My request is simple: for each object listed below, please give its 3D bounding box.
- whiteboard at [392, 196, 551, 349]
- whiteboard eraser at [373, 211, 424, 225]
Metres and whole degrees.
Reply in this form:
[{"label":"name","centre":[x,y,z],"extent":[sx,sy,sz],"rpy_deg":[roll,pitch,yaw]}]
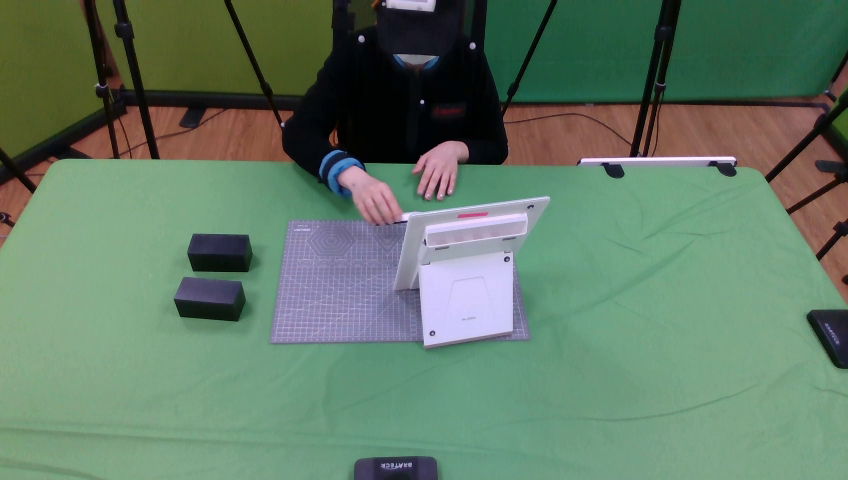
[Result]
[{"label":"whiteboard","centre":[0.077,0.071,0.977],"extent":[0.217,0.306,0.143],"rpy_deg":[-7,67,-11]},{"label":"whiteboard eraser","centre":[-0.047,-0.042,1.132],"extent":[0.101,0.019,0.041],"rpy_deg":[-5,6,15]}]
